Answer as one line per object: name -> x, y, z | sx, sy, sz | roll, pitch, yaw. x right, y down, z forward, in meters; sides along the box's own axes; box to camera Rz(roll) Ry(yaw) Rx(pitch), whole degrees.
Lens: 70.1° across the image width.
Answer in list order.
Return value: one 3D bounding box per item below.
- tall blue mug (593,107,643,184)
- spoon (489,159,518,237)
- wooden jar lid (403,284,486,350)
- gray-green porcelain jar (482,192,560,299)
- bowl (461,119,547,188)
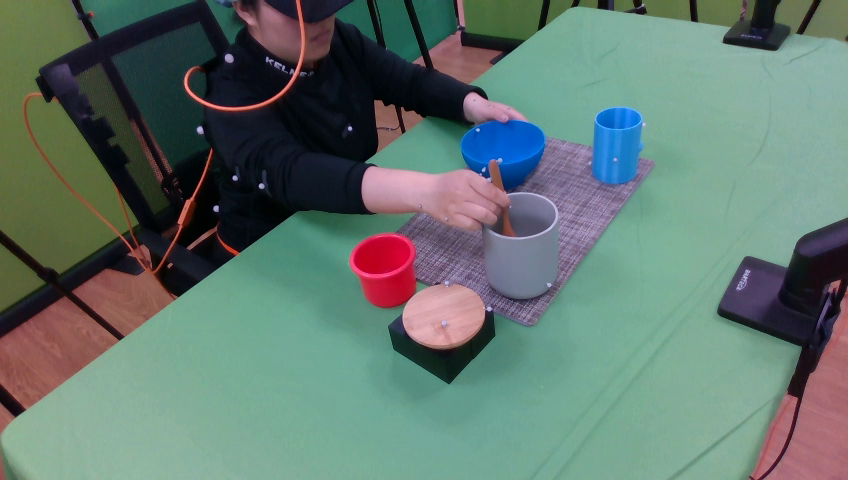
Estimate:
tall blue mug -> 0.330, -0.172, 1.052 | 0.078, 0.108, 0.106 | -12, 40, 0
spoon -> 0.110, -0.035, 0.827 | 0.041, 0.195, 0.021 | 2, 44, 23
wooden jar lid -> 0.027, 0.101, 0.786 | 0.108, 0.021, 0.108 | -5, 39, 5
gray-green porcelain jar -> 0.139, 0.012, 0.858 | 0.106, 0.127, 0.105 | -6, 40, 5
bowl -> 0.144, -0.146, 1.082 | 0.151, 0.077, 0.150 | -5, 40, 5
